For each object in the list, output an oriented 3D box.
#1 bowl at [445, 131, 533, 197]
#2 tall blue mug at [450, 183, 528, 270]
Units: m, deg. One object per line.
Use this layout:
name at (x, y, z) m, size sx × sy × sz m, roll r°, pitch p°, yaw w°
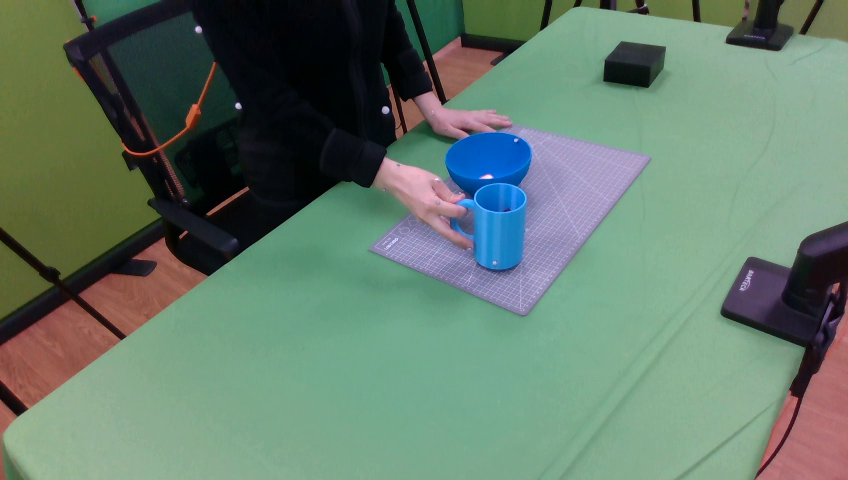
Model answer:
bowl at (0.115, -0.118, 1.056) m, size 0.151 × 0.077 × 0.150 m, roll -6°, pitch 40°, yaw 5°
tall blue mug at (0.097, -0.018, 0.896) m, size 0.107 × 0.108 × 0.077 m, roll -8°, pitch 40°, yaw -6°
